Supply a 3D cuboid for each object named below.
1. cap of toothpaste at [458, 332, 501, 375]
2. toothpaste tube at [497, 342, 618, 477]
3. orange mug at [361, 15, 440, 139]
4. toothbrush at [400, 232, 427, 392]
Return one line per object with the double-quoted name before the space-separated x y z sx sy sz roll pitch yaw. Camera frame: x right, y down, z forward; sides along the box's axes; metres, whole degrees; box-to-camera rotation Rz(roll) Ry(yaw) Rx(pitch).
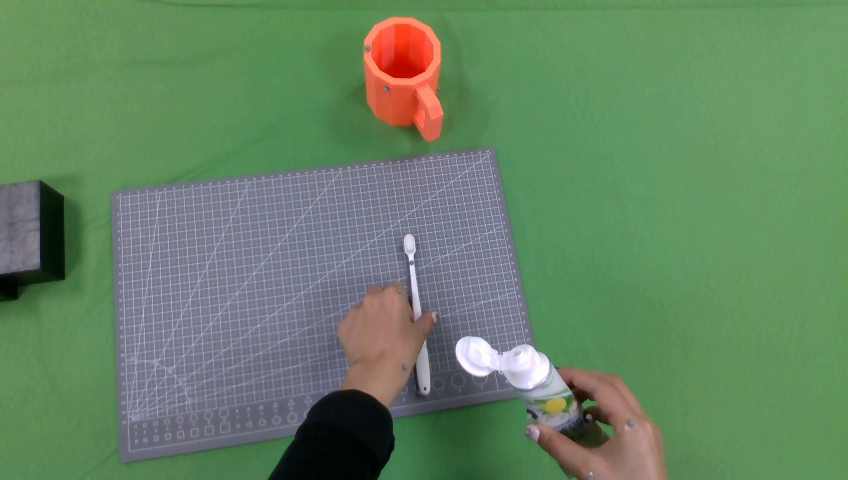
"cap of toothpaste" 0.043 0.086 0.469 0.037 0.011 0.037 18 47 -20
"toothpaste tube" 0.107 0.142 0.500 0.055 0.034 0.166 -30 120 12
"orange mug" -0.021 -0.183 0.705 0.083 0.101 0.125 -29 74 -11
"toothbrush" -0.012 0.077 0.675 0.014 0.017 0.181 -4 77 -8
